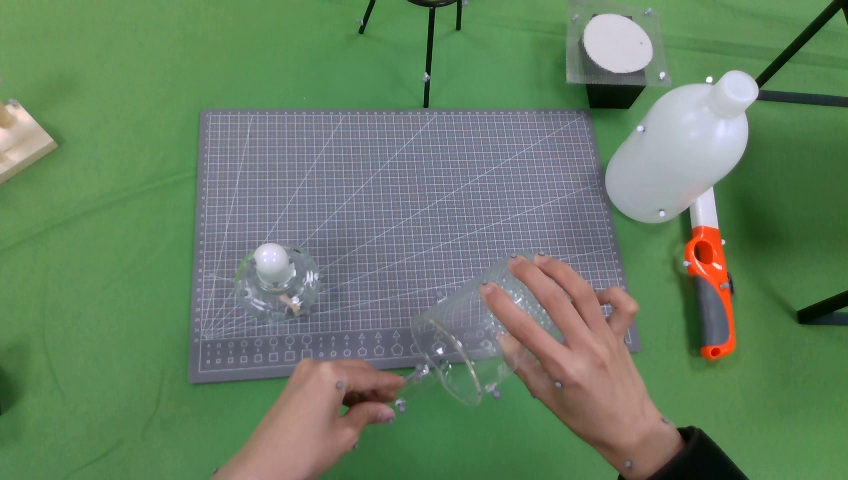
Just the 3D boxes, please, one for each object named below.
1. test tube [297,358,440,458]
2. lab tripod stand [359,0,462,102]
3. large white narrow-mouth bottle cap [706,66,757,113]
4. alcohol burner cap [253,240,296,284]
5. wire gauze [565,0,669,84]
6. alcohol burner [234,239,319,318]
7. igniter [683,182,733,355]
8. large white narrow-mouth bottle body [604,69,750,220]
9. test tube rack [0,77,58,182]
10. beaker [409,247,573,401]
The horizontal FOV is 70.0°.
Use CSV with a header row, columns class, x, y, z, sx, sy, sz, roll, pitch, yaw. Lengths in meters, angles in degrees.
class,x,y,z,sx,sy,sz,roll,pitch,yaw
test tube,-0.047,0.136,0.480,0.150,0.017,0.017,-37,73,21
lab tripod stand,-0.002,-0.251,0.674,0.149,0.132,0.147,3,69,-8
large white narrow-mouth bottle cap,0.274,-0.135,0.542,0.038,0.024,0.037,3,68,-6
alcohol burner cap,-0.130,0.017,0.519,0.034,0.048,0.033,1,73,-4
wire gauze,0.224,-0.236,0.715,0.122,0.011,0.124,5,68,-6
alcohol burner,-0.135,0.030,0.553,0.078,0.119,0.077,4,67,-8
igniter,0.313,-0.007,0.680,0.057,0.025,0.274,11,67,-17
large white narrow-mouth bottle body,0.264,-0.102,0.620,0.102,0.195,0.101,3,68,-6
test tube rack,-0.483,-0.061,0.557,0.066,0.085,0.242,44,69,10
beaker,0.051,0.057,0.438,0.100,0.084,0.073,-32,75,-23
